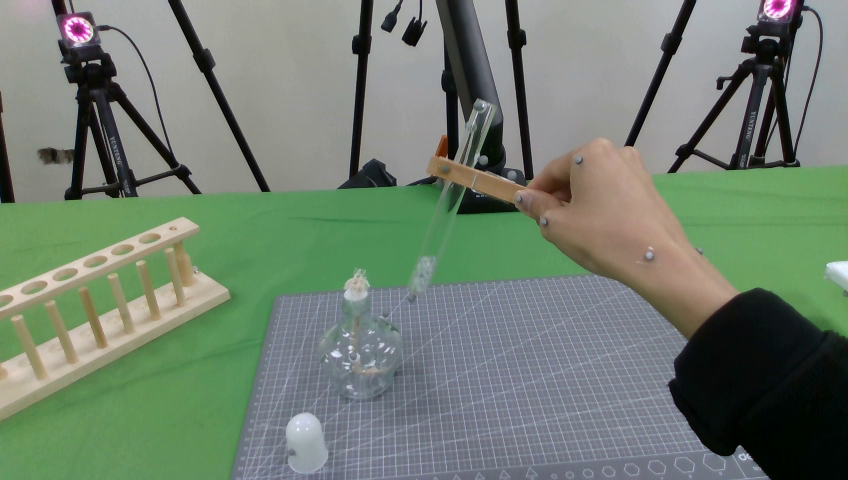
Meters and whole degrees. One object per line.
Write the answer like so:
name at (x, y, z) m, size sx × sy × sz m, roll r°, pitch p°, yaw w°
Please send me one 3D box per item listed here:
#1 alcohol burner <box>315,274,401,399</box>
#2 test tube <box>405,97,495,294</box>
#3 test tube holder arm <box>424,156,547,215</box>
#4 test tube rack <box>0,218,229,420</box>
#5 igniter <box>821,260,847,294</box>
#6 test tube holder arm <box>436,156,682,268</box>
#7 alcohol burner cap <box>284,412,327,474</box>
alcohol burner at (-0.060, 0.082, 0.541) m, size 0.078 × 0.120 × 0.077 m, roll -1°, pitch 29°, yaw 1°
test tube at (0.017, -0.029, 0.432) m, size 0.017 × 0.150 × 0.017 m, roll 19°, pitch 15°, yaw -5°
test tube holder arm at (0.042, -0.038, 0.416) m, size 0.087 × 0.015 × 0.010 m, roll 21°, pitch 17°, yaw 15°
test tube rack at (-0.327, 0.069, 0.609) m, size 0.066 × 0.086 × 0.242 m, roll 24°, pitch 39°, yaw 35°
igniter at (0.435, 0.090, 0.503) m, size 0.057 × 0.025 × 0.274 m, roll -5°, pitch 28°, yaw -3°
test tube holder arm at (0.083, -0.022, 0.406) m, size 0.177 × 0.015 × 0.013 m, roll 24°, pitch 18°, yaw 22°
alcohol burner cap at (-0.097, 0.159, 0.485) m, size 0.034 × 0.048 × 0.033 m, roll -1°, pitch 31°, yaw 1°
